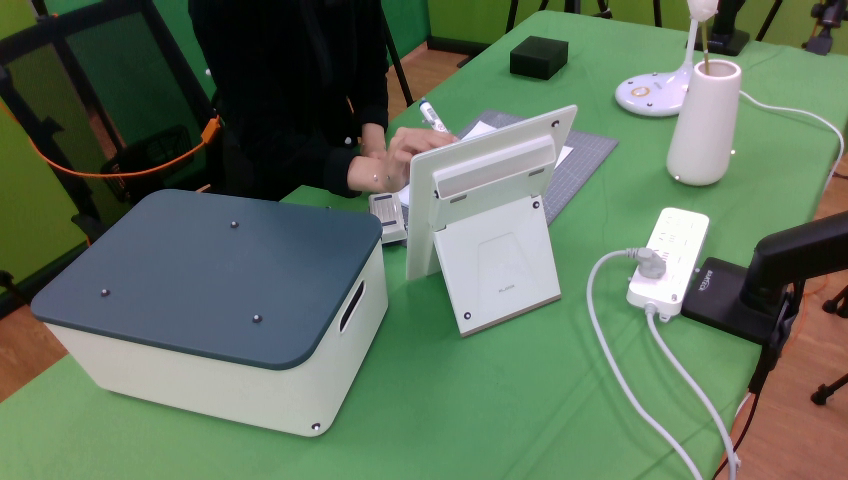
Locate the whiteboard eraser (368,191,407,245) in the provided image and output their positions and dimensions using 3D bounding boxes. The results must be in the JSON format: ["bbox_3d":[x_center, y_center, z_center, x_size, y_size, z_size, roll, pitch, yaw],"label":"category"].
[{"bbox_3d":[-0.061,-0.035,1.006,0.056,0.042,0.112,-9,40,-3],"label":"whiteboard eraser"}]

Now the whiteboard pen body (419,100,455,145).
[{"bbox_3d":[0.030,-0.136,0.811,0.017,0.017,0.140,-23,65,-18],"label":"whiteboard pen body"}]

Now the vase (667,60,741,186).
[{"bbox_3d":[0.463,-0.189,0.994,0.098,0.201,0.097,-4,40,4],"label":"vase"}]

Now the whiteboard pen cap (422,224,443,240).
[{"bbox_3d":[0.013,-0.013,0.988,0.033,0.018,0.018,-31,46,-21],"label":"whiteboard pen cap"}]

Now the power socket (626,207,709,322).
[{"bbox_3d":[0.360,0.026,0.886,0.072,0.033,0.227,17,46,27],"label":"power socket"}]

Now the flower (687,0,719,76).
[{"bbox_3d":[0.436,-0.242,0.934,0.038,0.364,0.043,-24,49,9],"label":"flower"}]

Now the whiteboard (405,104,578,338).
[{"bbox_3d":[0.102,0.003,0.787,0.218,0.306,0.143,-19,62,-14],"label":"whiteboard"}]

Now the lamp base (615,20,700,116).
[{"bbox_3d":[0.484,-0.364,1.211,0.180,0.181,0.159,-15,41,-14],"label":"lamp base"}]

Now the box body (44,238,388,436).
[{"bbox_3d":[-0.251,0.088,0.799,0.362,0.161,0.254,7,42,16],"label":"box body"}]

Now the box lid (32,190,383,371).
[{"bbox_3d":[-0.257,0.032,0.750,0.370,0.015,0.263,7,41,16],"label":"box lid"}]

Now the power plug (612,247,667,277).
[{"bbox_3d":[0.306,0.031,0.852,0.072,0.053,0.035,21,48,37],"label":"power plug"}]
